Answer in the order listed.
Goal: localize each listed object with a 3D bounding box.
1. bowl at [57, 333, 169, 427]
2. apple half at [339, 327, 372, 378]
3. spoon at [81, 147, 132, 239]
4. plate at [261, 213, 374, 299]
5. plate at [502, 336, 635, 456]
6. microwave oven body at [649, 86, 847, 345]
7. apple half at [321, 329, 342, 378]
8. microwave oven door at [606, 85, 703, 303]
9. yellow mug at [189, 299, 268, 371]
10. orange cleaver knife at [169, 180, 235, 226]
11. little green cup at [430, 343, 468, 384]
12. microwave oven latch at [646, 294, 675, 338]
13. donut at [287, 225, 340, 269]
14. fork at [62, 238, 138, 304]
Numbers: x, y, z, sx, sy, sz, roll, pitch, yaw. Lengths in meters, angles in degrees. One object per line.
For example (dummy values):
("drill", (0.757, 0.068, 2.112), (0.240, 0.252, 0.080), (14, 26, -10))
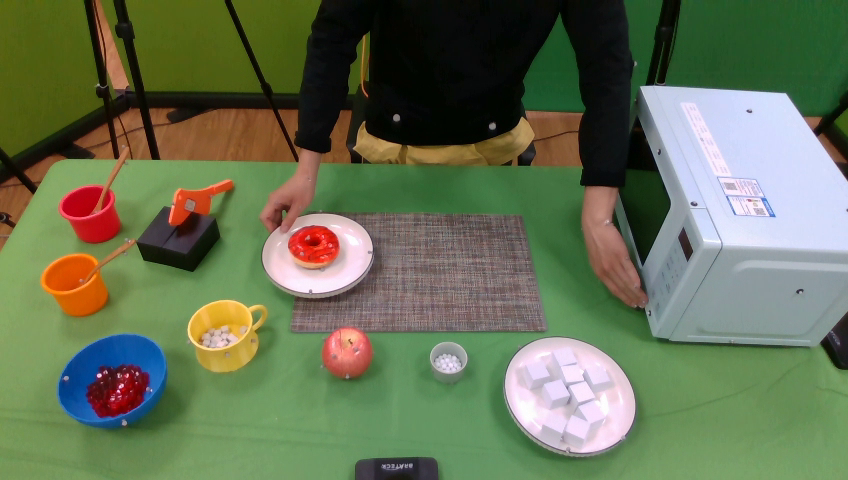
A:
("bowl", (-0.455, 0.223, 0.912), (0.151, 0.077, 0.150), (3, 45, -3))
("apple half", (-0.111, 0.183, 0.980), (0.053, 0.075, 0.080), (-2, 42, -12))
("spoon", (-0.602, -0.089, 1.156), (0.041, 0.022, 0.193), (27, 94, 19))
("plate", (-0.198, 0.032, 1.137), (0.209, 0.038, 0.208), (2, 46, -2))
("plate", (0.226, 0.248, 0.963), (0.208, 0.039, 0.206), (2, 46, -2))
("microwave oven body", (0.568, -0.053, 1.118), (0.326, 0.261, 0.439), (2, 45, -1))
("apple half", (-0.149, 0.186, 0.972), (0.033, 0.081, 0.080), (-2, 46, -12))
("microwave oven door", (0.423, -0.094, 1.140), (0.039, 0.245, 0.353), (2, 46, -1))
("yellow mug", (-0.316, 0.148, 1.002), (0.131, 0.064, 0.099), (-33, 56, -31))
("orange cleaver knife", (-0.435, -0.076, 1.199), (0.012, 0.077, 0.211), (17, 17, 9))
("little green cup", (0.039, 0.203, 0.994), (0.061, 0.039, 0.061), (2, 46, -2))
("microwave oven latch", (0.412, 0.134, 1.061), (0.030, 0.029, 0.078), (4, 45, 1))
("donut", (-0.206, 0.013, 1.139), (0.099, 0.048, 0.098), (3, 45, -3))
("fork", (-0.546, 0.053, 1.018), (0.207, 0.019, 0.028), (-36, 41, 23))
